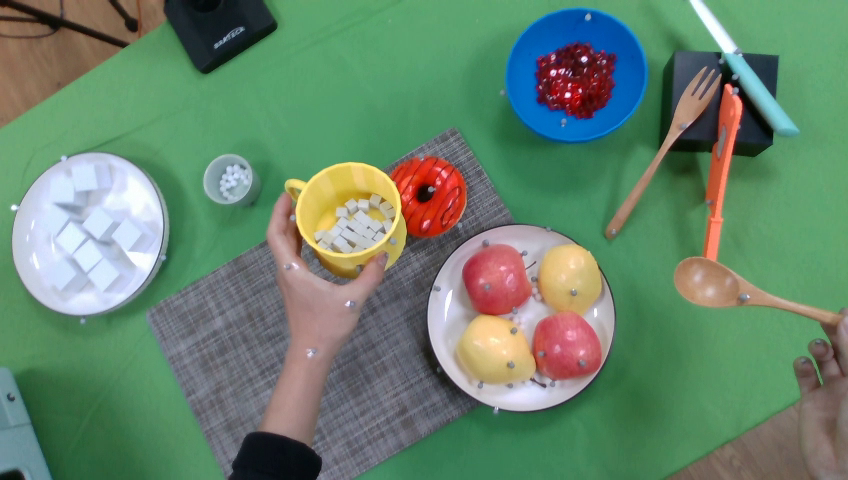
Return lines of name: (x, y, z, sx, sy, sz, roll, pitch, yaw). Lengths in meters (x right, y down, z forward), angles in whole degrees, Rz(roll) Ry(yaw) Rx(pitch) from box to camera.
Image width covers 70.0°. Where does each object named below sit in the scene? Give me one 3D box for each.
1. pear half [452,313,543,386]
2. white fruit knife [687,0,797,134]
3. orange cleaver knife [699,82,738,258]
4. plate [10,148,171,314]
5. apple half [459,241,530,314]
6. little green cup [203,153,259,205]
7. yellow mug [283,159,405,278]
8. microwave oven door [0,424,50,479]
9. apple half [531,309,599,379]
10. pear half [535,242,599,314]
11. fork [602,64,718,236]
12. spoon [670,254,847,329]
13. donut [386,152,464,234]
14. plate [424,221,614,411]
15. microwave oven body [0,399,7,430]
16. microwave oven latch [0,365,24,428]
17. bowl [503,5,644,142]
pear half: (0.087, 0.129, 0.663, 0.109, 0.056, 0.076, 32, 93, 5)
white fruit knife: (0.331, -0.198, 0.651, 0.027, 0.016, 0.206, -24, 77, -25)
orange cleaver knife: (0.312, -0.060, 0.653, 0.012, 0.077, 0.212, 5, 109, 13)
plate: (-0.413, -0.010, 0.762, 0.207, 0.039, 0.207, -1, 83, 7)
apple half: (0.077, 0.042, 0.671, 0.074, 0.053, 0.080, -13, 85, 6)
little green cup: (-0.235, -0.072, 0.747, 0.061, 0.039, 0.061, -1, 83, 8)
yellow mug: (-0.085, -0.027, 0.599, 0.130, 0.064, 0.099, 26, 72, 13)
microwave oven door: (-0.432, 0.369, 0.597, 0.039, 0.245, 0.354, -28, 80, 3)
apple half: (0.145, 0.114, 0.654, 0.081, 0.033, 0.081, 1, 93, 29)
pear half: (0.153, 0.047, 0.664, 0.070, 0.031, 0.088, -2, 93, 31)
fork: (0.252, -0.092, 0.662, 0.028, 0.018, 0.208, 28, 108, 2)
spoon: (0.298, 0.054, 0.488, 0.192, 0.022, 0.041, 18, 78, 20)
donut: (-0.002, -0.055, 0.708, 0.099, 0.048, 0.099, -1, 85, 10)
plate: (0.104, 0.083, 0.681, 0.209, 0.038, 0.208, -1, 83, 7)
microwave oven body: (-0.579, 0.401, 0.617, 0.326, 0.261, 0.440, -28, 81, 3)
microwave oven latch: (-0.516, 0.190, 0.732, 0.030, 0.029, 0.079, -26, 81, 3)
bowl: (0.164, -0.176, 0.688, 0.151, 0.077, 0.151, -1, 84, 7)
